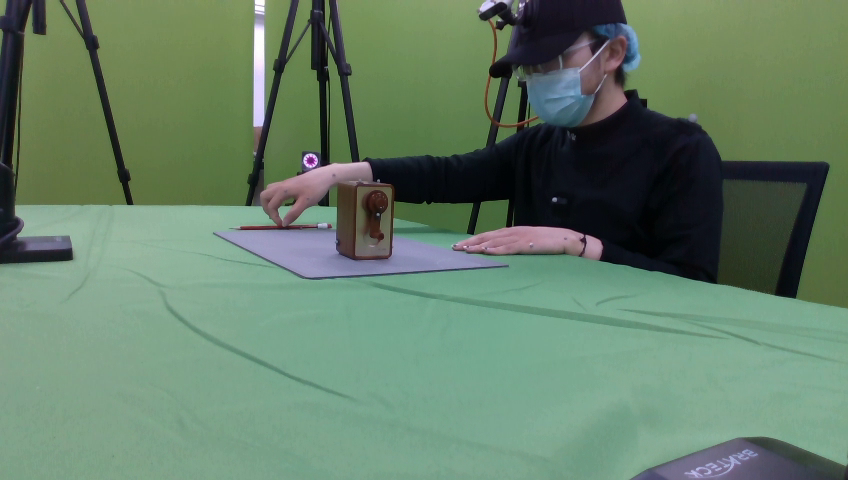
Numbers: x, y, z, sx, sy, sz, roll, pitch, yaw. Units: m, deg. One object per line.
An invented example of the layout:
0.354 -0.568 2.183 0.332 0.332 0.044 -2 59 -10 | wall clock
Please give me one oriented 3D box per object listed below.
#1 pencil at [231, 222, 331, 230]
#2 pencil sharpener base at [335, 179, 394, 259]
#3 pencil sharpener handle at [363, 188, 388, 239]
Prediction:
-0.272 -0.026 1.165 0.195 0.012 0.012 -3 9 -29 | pencil
-0.084 -0.030 0.855 0.061 0.107 0.076 -1 8 -28 | pencil sharpener base
-0.061 -0.035 0.809 0.036 0.067 0.030 4 6 -29 | pencil sharpener handle
